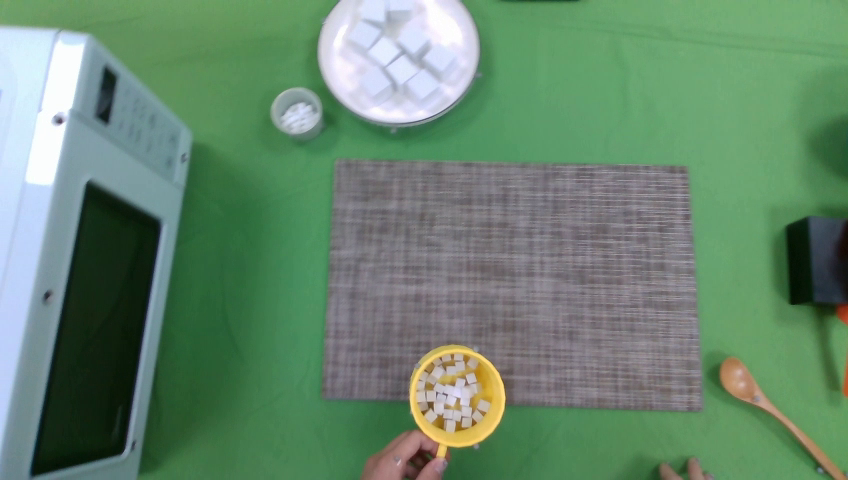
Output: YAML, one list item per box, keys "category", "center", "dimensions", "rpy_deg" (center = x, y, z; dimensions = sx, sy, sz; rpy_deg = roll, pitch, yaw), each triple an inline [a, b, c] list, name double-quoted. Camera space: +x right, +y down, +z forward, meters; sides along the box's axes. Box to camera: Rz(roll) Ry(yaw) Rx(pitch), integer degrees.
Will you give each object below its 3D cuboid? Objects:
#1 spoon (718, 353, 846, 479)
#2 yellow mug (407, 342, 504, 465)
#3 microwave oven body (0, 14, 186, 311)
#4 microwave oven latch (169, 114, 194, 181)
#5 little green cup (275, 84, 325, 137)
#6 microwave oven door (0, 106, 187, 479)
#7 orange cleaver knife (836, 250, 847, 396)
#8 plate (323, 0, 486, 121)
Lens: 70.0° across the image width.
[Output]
- category: "spoon"
  center: [0.412, 0.206, 0.699]
  dimensions: [0.193, 0.022, 0.041]
  rpy_deg: [44, 65, 9]
- category: "yellow mug"
  center: [0.028, 0.178, 0.655]
  dimensions: [0.100, 0.064, 0.130]
  rpy_deg: [15, 85, -1]
- category: "microwave oven body"
  center: [-0.473, 0.025, 0.628]
  dimensions: [0.326, 0.261, 0.440]
  rpy_deg: [5, 80, 2]
- category: "microwave oven latch"
  center: [-0.306, -0.115, 0.750]
  dimensions: [0.030, 0.029, 0.079]
  rpy_deg: [6, 80, 2]
- category: "little green cup"
  center: [-0.155, -0.163, 0.774]
  dimensions: [0.061, 0.039, 0.061]
  rpy_deg: [0, 80, 0]
- category: "microwave oven door"
  center: [-0.332, 0.078, 0.610]
  dimensions: [0.039, 0.245, 0.354]
  rpy_deg: [5, 79, 3]
- category: "orange cleaver knife"
  center: [0.495, 0.072, 0.694]
  dimensions: [0.012, 0.077, 0.212]
  rpy_deg: [3, 102, 6]
- category: "plate"
  center: [-0.025, -0.249, 0.790]
  dimensions: [0.207, 0.039, 0.206]
  rpy_deg: [0, 79, 1]
